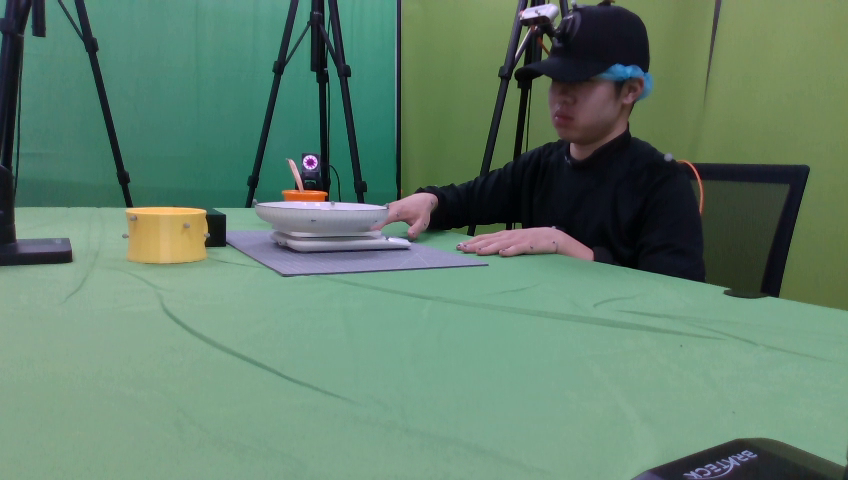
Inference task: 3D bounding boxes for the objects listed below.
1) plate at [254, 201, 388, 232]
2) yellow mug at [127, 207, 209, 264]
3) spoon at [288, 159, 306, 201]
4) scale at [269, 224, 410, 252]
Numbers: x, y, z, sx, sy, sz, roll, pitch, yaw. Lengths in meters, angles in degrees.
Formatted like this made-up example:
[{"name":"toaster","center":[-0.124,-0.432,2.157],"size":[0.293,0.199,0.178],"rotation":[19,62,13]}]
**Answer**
[{"name":"plate","center":[-0.161,-0.037,0.961],"size":[0.209,0.038,0.209],"rotation":[2,6,0]},{"name":"yellow mug","center":[-0.339,-0.009,0.827],"size":[0.100,0.064,0.131],"rotation":[5,7,17]},{"name":"spoon","center":[-0.259,-0.103,1.268],"size":[0.042,0.193,0.021],"rotation":[3,-39,-33]},{"name":"scale","center":[-0.137,-0.006,0.980],"size":[0.202,0.031,0.148],"rotation":[-1,8,-30]}]
